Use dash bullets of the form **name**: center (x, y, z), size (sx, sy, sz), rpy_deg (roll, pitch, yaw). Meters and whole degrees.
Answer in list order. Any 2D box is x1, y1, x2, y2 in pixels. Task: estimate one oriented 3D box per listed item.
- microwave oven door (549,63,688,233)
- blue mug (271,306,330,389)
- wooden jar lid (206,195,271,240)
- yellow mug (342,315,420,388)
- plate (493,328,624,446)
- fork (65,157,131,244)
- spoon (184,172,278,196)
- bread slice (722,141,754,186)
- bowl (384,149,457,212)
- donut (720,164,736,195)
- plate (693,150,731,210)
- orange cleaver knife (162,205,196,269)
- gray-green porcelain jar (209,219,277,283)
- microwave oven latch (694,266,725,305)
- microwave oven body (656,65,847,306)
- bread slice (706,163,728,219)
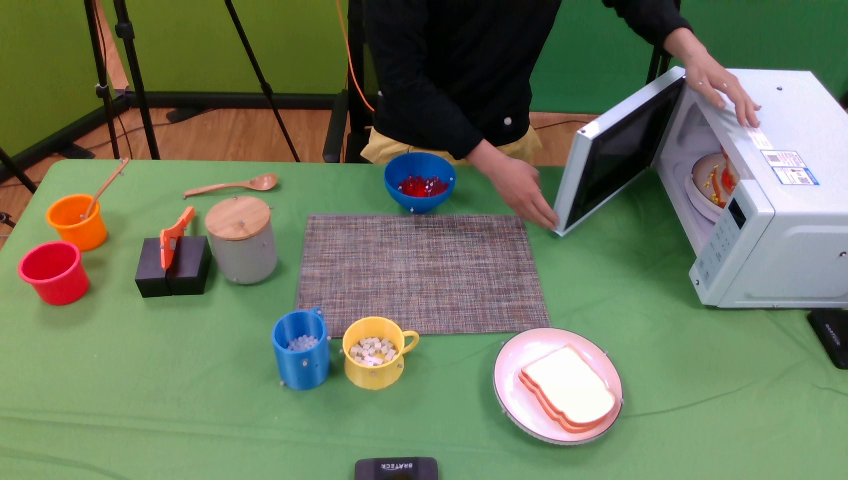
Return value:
- **microwave oven door**: center (0.396, -0.189, 1.224), size (0.356, 0.245, 0.039), rpy_deg (-34, 57, -30)
- **blue mug**: center (-0.188, 0.163, 0.969), size (0.082, 0.106, 0.116), rpy_deg (15, 47, 10)
- **wooden jar lid**: center (-0.319, -0.036, 1.046), size (0.108, 0.021, 0.107), rpy_deg (1, 44, 0)
- **yellow mug**: center (-0.068, 0.177, 0.990), size (0.131, 0.064, 0.099), rpy_deg (-16, 50, -19)
- **plate**: center (0.213, 0.236, 0.974), size (0.208, 0.039, 0.206), rpy_deg (2, 46, -2)
- **fork**: center (-0.609, -0.074, 1.133), size (0.207, 0.019, 0.028), rpy_deg (-52, 50, 10)
- **spoon**: center (-0.405, -0.116, 1.275), size (0.194, 0.022, 0.041), rpy_deg (-8, 65, -12)
- **bread slice**: center (0.659, -0.146, 1.200), size (0.107, 0.018, 0.133), rpy_deg (1, 54, 8)
- **bowl**: center (-0.009, -0.112, 1.262), size (0.151, 0.077, 0.150), rpy_deg (2, 46, -2)
- **donut**: center (0.647, -0.121, 1.216), size (0.099, 0.048, 0.098), rpy_deg (-3, 57, 4)
- **plate**: center (0.656, -0.109, 1.238), size (0.209, 0.038, 0.208), rpy_deg (0, 44, 0)
- **orange cleaver knife**: center (-0.454, -0.010, 1.129), size (0.012, 0.077, 0.210), rpy_deg (-2, 20, -5)
- **gray-green porcelain jar**: center (-0.323, 0.007, 1.092), size (0.106, 0.127, 0.105), rpy_deg (2, 46, -2)
- **microwave oven latch**: center (0.523, 0.082, 1.116), size (0.030, 0.029, 0.078), rpy_deg (3, 46, 0)
- **microwave oven body**: center (0.669, -0.111, 1.176), size (0.326, 0.261, 0.439), rpy_deg (0, 46, -3)
- **bread slice**: center (0.651, -0.101, 1.269), size (0.105, 0.019, 0.131), rpy_deg (12, 75, 4)
